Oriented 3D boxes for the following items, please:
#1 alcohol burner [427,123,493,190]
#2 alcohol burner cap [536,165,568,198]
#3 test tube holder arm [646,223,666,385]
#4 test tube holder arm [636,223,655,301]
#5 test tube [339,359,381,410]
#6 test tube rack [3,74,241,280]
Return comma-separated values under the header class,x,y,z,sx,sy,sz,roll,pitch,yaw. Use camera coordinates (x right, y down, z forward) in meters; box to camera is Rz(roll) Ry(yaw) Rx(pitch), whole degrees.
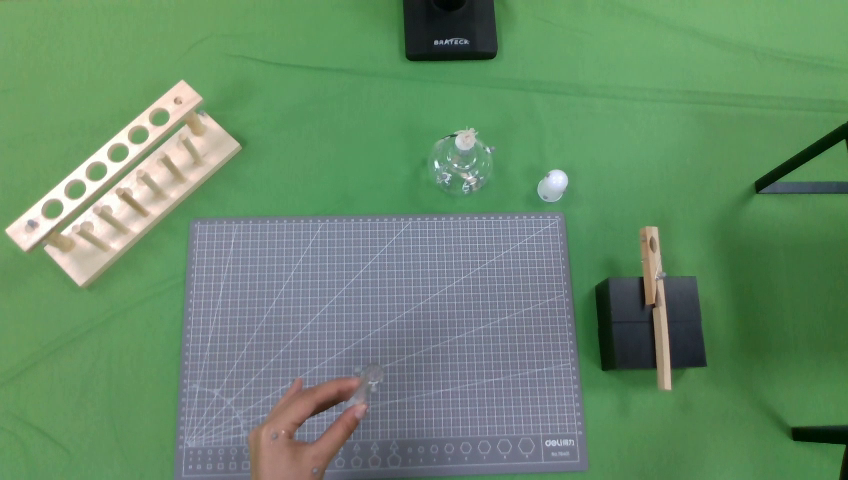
class,x,y,z,sx,sy,sz,roll,pitch,yaw
alcohol burner,0.043,-0.102,0.697,0.078,0.119,0.077,1,74,-4
alcohol burner cap,0.157,-0.073,0.733,0.034,0.048,0.033,1,75,-3
test tube holder arm,0.253,0.068,0.665,0.013,0.015,0.177,3,76,-15
test tube holder arm,0.247,0.024,0.674,0.010,0.015,0.087,3,76,-15
test tube,-0.059,0.130,0.535,0.017,0.151,0.017,6,63,-13
test tube rack,-0.329,-0.069,0.684,0.066,0.085,0.242,43,78,8
